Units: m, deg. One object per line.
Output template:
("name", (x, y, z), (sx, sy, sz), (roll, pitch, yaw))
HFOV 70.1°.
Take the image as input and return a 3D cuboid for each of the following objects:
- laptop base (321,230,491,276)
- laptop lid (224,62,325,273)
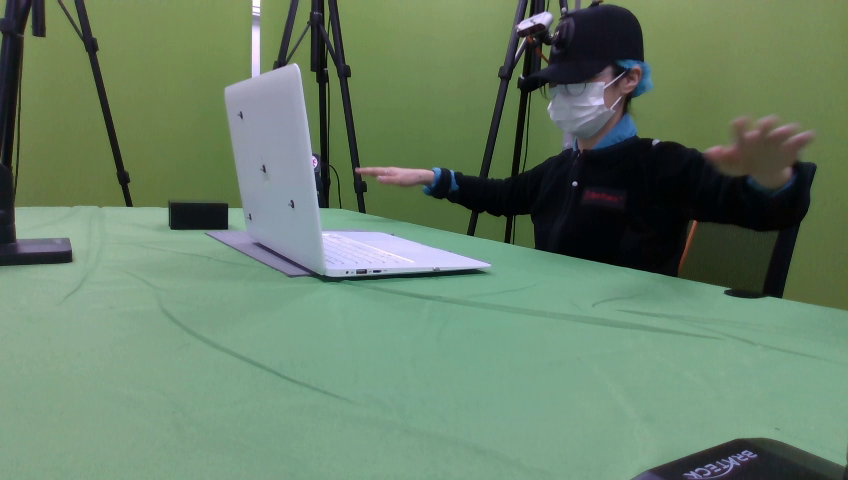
("laptop base", (-0.095, 0.015, 0.888), (0.237, 0.023, 0.352), (2, 7, -30))
("laptop lid", (-0.210, -0.097, 0.804), (0.013, 0.241, 0.355), (-12, 15, -28))
